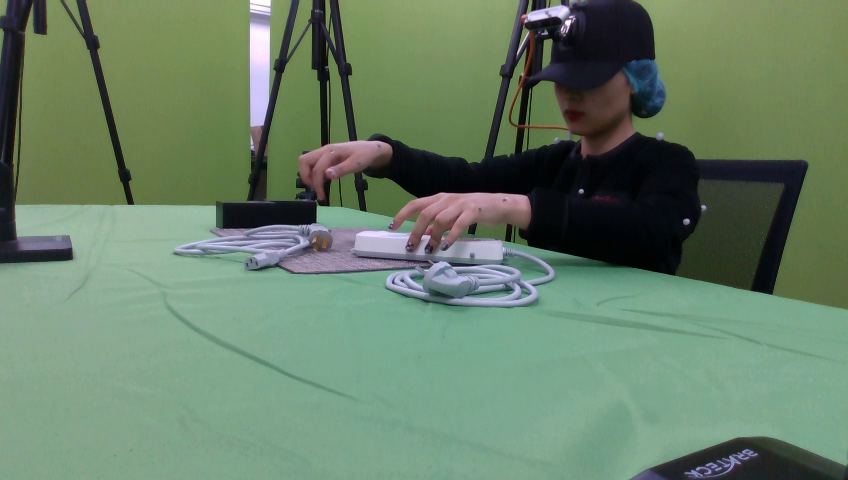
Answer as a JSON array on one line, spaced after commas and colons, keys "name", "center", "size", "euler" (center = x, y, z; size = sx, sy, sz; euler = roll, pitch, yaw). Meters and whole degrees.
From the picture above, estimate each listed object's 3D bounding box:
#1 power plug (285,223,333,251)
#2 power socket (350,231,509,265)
[{"name": "power plug", "center": [-0.171, -0.001, 0.897], "size": [0.072, 0.035, 0.052], "euler": [-7, 31, 5]}, {"name": "power socket", "center": [0.008, 0.010, 0.857], "size": [0.227, 0.032, 0.072], "euler": [4, 7, 5]}]
